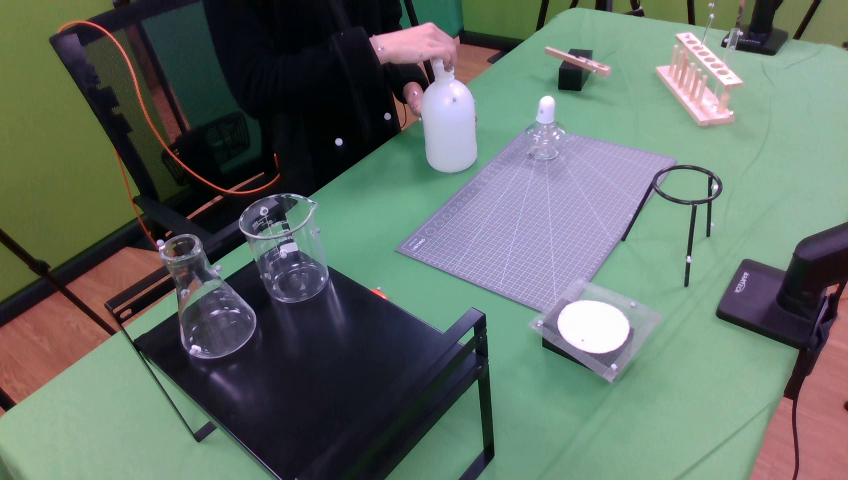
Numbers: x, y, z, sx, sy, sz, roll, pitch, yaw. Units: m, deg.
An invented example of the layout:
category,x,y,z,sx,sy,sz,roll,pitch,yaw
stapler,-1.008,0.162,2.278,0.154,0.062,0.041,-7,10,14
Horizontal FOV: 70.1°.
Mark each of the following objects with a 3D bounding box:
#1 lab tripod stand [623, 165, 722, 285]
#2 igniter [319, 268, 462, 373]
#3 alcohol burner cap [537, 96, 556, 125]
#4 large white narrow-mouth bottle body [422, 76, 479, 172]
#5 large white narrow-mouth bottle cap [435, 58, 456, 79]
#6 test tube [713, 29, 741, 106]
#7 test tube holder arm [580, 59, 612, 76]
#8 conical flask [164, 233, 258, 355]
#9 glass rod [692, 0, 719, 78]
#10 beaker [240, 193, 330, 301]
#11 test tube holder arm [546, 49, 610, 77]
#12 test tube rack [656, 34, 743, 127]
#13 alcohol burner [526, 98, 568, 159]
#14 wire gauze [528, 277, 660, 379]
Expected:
category,x,y,z,sx,sy,sz,roll,pitch,yaw
lab tripod stand,0.365,-0.030,0.874,0.148,0.132,0.147,-6,41,6
igniter,-0.059,0.107,0.862,0.274,0.025,0.057,28,62,34
alcohol burner cap,0.223,-0.237,1.095,0.034,0.048,0.033,-1,42,1
large white narrow-mouth bottle body,0.047,-0.229,1.111,0.102,0.195,0.101,-4,41,4
large white narrow-mouth bottle cap,0.038,-0.298,1.050,0.038,0.024,0.037,-4,40,4
test tube,0.572,-0.324,1.146,0.017,0.151,0.017,-3,39,3
test tube holder arm,0.363,-0.369,1.288,0.010,0.015,0.087,-28,43,-28
conical flask,-0.217,0.051,0.601,0.075,0.122,0.075,-4,40,4
glass rod,0.561,-0.401,1.214,0.008,0.200,0.008,-1,48,2
beaker,-0.144,0.009,0.656,0.084,0.101,0.073,-25,43,-19
test tube holder arm,0.332,-0.387,1.315,0.013,0.015,0.177,-26,43,-27
test tube rack,0.553,-0.330,1.233,0.067,0.085,0.241,-7,40,2
alcohol burner,0.228,-0.210,1.118,0.078,0.119,0.077,-5,43,5
wire gauze,0.213,0.103,0.763,0.124,0.011,0.122,30,52,35
